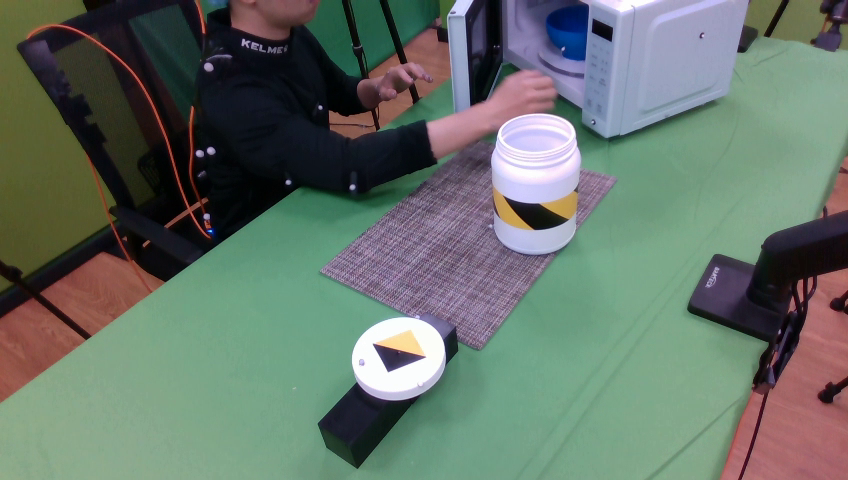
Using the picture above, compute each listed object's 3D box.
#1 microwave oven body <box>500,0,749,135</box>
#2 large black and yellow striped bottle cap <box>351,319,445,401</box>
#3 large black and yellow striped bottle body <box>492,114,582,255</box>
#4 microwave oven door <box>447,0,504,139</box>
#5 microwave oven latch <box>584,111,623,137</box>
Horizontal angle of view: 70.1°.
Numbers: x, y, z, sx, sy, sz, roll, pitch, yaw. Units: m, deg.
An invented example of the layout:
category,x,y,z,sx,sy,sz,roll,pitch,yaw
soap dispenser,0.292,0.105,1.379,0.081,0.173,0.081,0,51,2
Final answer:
category,x,y,z,sx,sy,sz,roll,pitch,yaw
microwave oven body,0.382,-0.444,1.246,0.327,0.261,0.437,-22,42,-16
large black and yellow striped bottle cap,-0.032,0.143,0.735,0.115,0.019,0.114,-3,40,3
large black and yellow striped bottle body,0.169,-0.083,0.912,0.131,0.185,0.130,-4,41,4
microwave oven door,0.112,-0.404,1.229,0.039,0.245,0.355,6,42,15
microwave oven latch,0.337,-0.222,1.142,0.030,0.029,0.078,-21,42,-14
